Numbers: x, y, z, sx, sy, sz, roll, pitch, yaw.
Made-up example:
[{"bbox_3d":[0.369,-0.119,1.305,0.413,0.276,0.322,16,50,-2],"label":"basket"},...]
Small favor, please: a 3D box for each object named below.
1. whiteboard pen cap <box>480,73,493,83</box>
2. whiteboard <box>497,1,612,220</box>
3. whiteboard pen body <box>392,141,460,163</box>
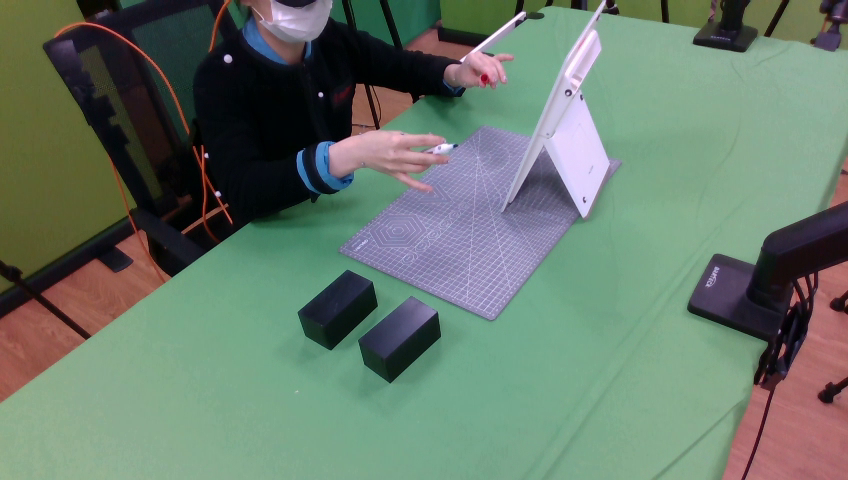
[{"bbox_3d":[0.116,-0.302,1.125,0.017,0.017,0.032,12,15,21],"label":"whiteboard pen cap"},{"bbox_3d":[0.260,-0.178,0.963,0.143,0.306,0.217,28,49,9],"label":"whiteboard"},{"bbox_3d":[0.002,-0.139,0.949,0.139,0.017,0.017,-8,32,42],"label":"whiteboard pen body"}]
